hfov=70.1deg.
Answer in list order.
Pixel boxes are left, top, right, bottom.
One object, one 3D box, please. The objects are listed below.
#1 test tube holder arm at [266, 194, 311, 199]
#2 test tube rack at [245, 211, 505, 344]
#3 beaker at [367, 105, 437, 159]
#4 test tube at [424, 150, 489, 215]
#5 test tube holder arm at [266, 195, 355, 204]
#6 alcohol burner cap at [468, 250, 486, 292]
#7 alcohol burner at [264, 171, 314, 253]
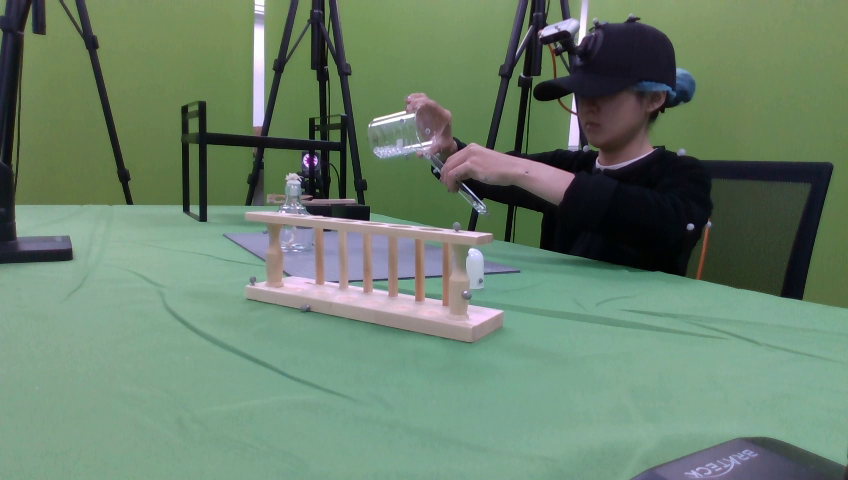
[{"bbox_3d":[-0.262,-0.084,1.173,0.088,0.010,0.015,-3,2,-30],"label":"test tube holder arm"},{"bbox_3d":[-0.049,0.025,0.547,0.241,0.085,0.067,7,8,29],"label":"test tube rack"},{"bbox_3d":[-0.039,-0.176,1.020,0.100,0.084,0.074,-6,-4,28],"label":"beaker"},{"bbox_3d":[0.051,-0.093,0.971,0.149,0.017,0.017,47,28,21],"label":"test tube"},{"bbox_3d":[-0.222,-0.081,1.196,0.179,0.013,0.015,-4,3,-30],"label":"test tube holder arm"},{"bbox_3d":[0.056,0.035,0.690,0.034,0.048,0.034,2,7,0],"label":"alcohol burner cap"},{"bbox_3d":[-0.194,-0.042,0.888,0.078,0.119,0.078,3,5,0],"label":"alcohol burner"}]
